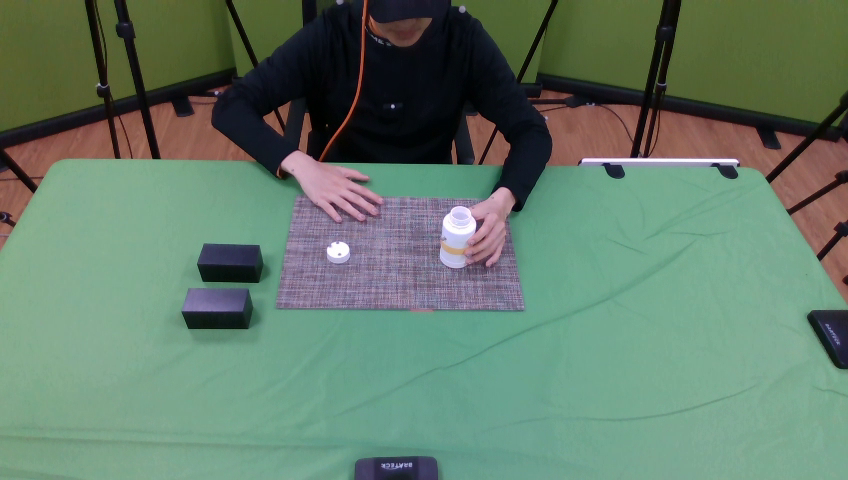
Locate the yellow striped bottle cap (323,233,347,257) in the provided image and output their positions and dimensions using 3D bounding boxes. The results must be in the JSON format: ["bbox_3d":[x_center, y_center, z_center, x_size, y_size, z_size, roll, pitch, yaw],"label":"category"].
[{"bbox_3d":[-0.168,0.010,1.143,0.044,0.019,0.044,3,55,-5],"label":"yellow striped bottle cap"}]

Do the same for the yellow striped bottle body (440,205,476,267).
[{"bbox_3d":[0.064,-0.010,1.137,0.063,0.121,0.062,2,46,-2],"label":"yellow striped bottle body"}]
